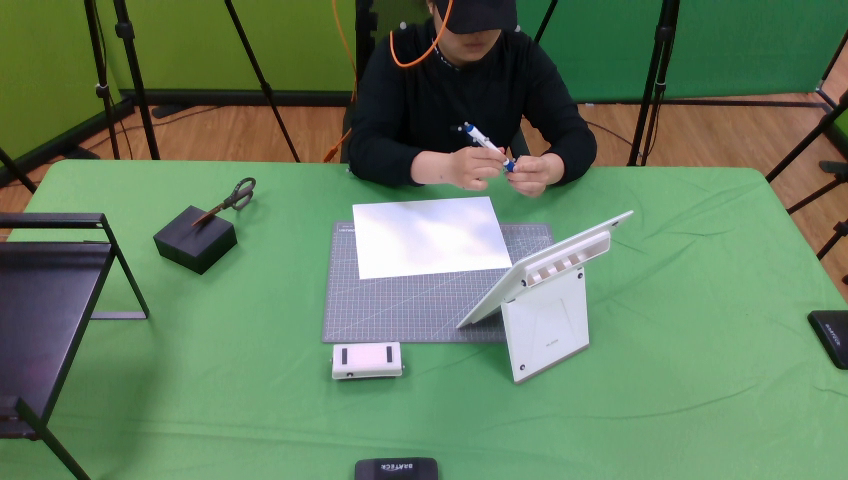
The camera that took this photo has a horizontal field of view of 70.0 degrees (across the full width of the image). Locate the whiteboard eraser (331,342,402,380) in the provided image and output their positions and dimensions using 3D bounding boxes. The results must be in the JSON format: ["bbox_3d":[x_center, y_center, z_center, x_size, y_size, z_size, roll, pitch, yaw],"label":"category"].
[{"bbox_3d":[-0.094,0.198,0.986,0.113,0.042,0.055,-2,44,-6],"label":"whiteboard eraser"}]

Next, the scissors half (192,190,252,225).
[{"bbox_3d":[-0.393,-0.060,1.187,0.013,0.040,0.175,25,29,12],"label":"scissors half"}]

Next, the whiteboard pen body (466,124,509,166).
[{"bbox_3d":[0.123,-0.166,1.106,0.017,0.141,0.017,-28,44,31],"label":"whiteboard pen body"}]

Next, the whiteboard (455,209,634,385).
[{"bbox_3d":[0.211,0.111,0.955,0.217,0.306,0.143,-21,71,-23],"label":"whiteboard"}]

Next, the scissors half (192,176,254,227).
[{"bbox_3d":[-0.388,-0.075,1.174,0.013,0.040,0.174,29,47,8],"label":"scissors half"}]

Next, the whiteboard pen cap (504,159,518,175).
[{"bbox_3d":[0.163,-0.137,1.141,0.018,0.033,0.018,-21,52,29],"label":"whiteboard pen cap"}]
